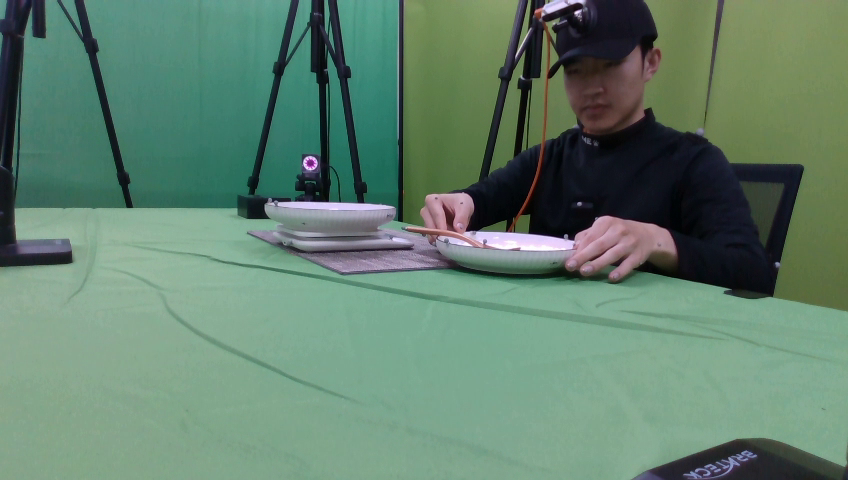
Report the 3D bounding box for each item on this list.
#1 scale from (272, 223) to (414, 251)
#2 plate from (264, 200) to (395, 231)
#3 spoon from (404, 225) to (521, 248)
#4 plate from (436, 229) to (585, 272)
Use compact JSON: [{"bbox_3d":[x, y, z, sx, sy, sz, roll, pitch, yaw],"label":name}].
[{"bbox_3d":[-0.131,-0.008,0.983,0.202,0.031,0.148,-2,8,-32],"label":"scale"},{"bbox_3d":[-0.150,-0.040,0.971,0.208,0.039,0.207,2,7,0],"label":"plate"},{"bbox_3d":[0.049,-0.004,0.854,0.193,0.021,0.042,16,13,36],"label":"spoon"},{"bbox_3d":[0.121,0.014,0.856,0.209,0.038,0.209,2,7,0],"label":"plate"}]
